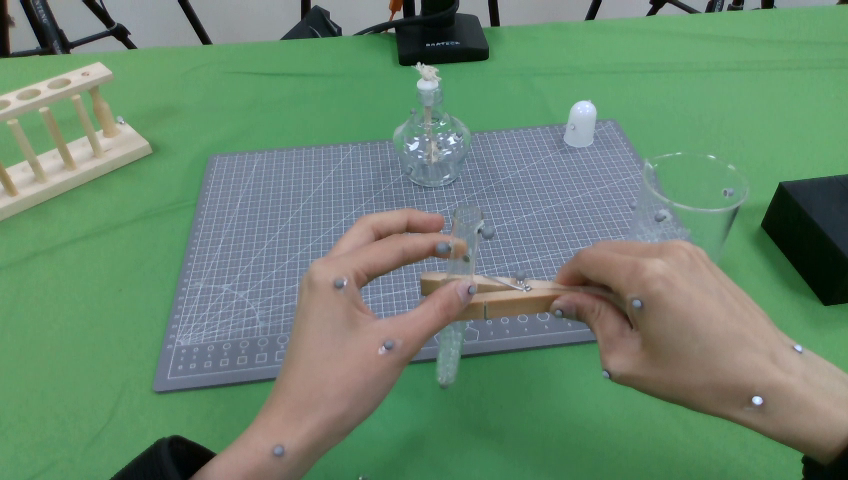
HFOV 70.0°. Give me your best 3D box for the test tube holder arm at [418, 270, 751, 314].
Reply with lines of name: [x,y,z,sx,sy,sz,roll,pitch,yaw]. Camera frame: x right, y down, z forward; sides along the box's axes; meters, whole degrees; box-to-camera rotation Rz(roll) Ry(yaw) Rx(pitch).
test tube holder arm: [0.085,0.028,0.336,0.178,0.015,0.013,2,46,6]

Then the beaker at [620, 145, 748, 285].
beaker: [0.197,-0.015,0.480,0.074,0.101,0.083,-27,48,-24]

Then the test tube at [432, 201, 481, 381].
test tube: [0.017,0.037,0.348,0.017,0.151,0.017,2,46,-2]

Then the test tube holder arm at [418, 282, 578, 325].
test tube holder arm: [0.041,0.033,0.334,0.088,0.015,0.010,-8,45,-4]

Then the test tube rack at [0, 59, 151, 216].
test tube rack: [-0.408,-0.086,0.589,0.242,0.086,0.066,-34,52,-29]

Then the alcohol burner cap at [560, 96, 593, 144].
alcohol burner cap: [0.163,-0.131,0.644,0.034,0.048,0.033,-1,44,1]

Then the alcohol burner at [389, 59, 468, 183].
alcohol burner: [0.004,-0.116,0.582,0.078,0.120,0.077,-2,42,2]
